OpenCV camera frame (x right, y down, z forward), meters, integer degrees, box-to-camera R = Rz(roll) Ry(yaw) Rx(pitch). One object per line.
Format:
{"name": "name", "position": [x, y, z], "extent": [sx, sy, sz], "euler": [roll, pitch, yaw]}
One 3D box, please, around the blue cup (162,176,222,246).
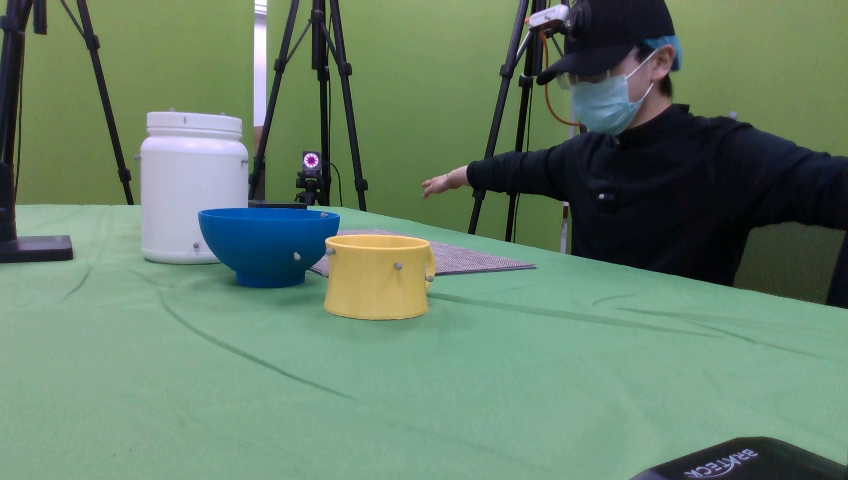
{"name": "blue cup", "position": [-0.356, -0.045, 0.929], "extent": [0.093, 0.100, 0.092], "euler": [4, 8, 0]}

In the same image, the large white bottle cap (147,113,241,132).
{"name": "large white bottle cap", "position": [-0.297, -0.151, 0.786], "extent": [0.115, 0.018, 0.115], "euler": [2, 7, 0]}

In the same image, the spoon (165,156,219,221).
{"name": "spoon", "position": [-0.451, -0.105, 1.193], "extent": [0.041, 0.022, 0.193], "euler": [5, 51, 17]}

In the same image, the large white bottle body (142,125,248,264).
{"name": "large white bottle body", "position": [-0.300, -0.068, 0.797], "extent": [0.131, 0.184, 0.130], "euler": [2, 7, 0]}

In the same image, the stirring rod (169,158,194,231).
{"name": "stirring rod", "position": [-0.424, -0.082, 1.060], "extent": [0.014, 0.006, 0.175], "euler": [2, 50, -10]}

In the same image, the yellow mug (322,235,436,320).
{"name": "yellow mug", "position": [-0.034, 0.031, 0.581], "extent": [0.099, 0.064, 0.131], "euler": [8, 8, 42]}

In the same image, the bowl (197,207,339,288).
{"name": "bowl", "position": [-0.171, 0.008, 0.671], "extent": [0.151, 0.077, 0.151], "euler": [2, 7, 0]}
